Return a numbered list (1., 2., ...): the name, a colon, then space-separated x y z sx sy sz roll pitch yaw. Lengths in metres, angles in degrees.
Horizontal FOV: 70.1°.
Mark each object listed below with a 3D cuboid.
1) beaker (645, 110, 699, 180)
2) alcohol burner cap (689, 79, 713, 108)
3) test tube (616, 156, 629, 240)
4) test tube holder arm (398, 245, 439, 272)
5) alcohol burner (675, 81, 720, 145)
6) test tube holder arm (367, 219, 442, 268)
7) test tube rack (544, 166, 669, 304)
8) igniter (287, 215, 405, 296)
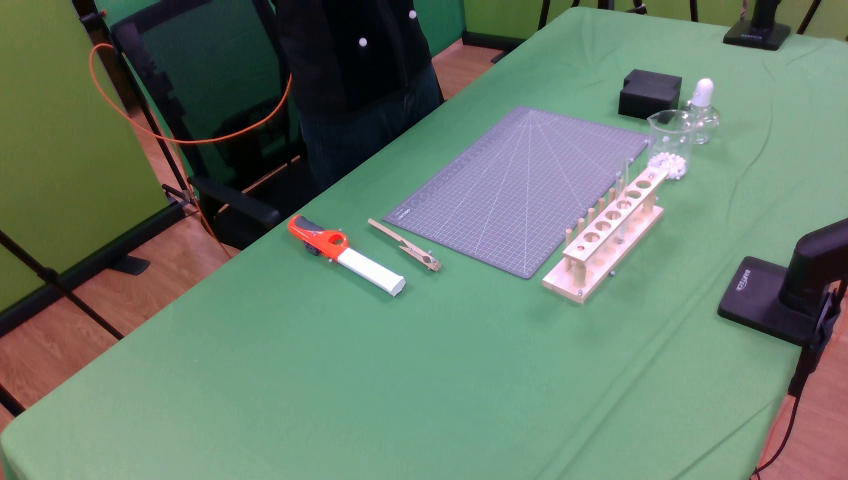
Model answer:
1. beaker: 0.417 -0.160 1.032 0.083 0.101 0.074 25 51 34
2. alcohol burner cap: 0.492 -0.262 1.071 0.034 0.048 0.033 -2 45 2
3. test tube: 0.284 -0.057 0.869 0.017 0.151 0.017 -8 42 8
4. test tube holder arm: -0.009 0.026 0.956 0.087 0.015 0.010 34 89 40
5. alcohol burner: 0.497 -0.234 1.094 0.078 0.119 0.077 -5 43 5
6. test tube holder arm: -0.035 0.003 0.985 0.177 0.015 0.013 32 88 40
7. test tube rack: 0.274 -0.018 0.903 0.066 0.085 0.243 26 51 35
8. igniter: -0.137 0.019 0.980 0.274 0.025 0.057 28 62 35
